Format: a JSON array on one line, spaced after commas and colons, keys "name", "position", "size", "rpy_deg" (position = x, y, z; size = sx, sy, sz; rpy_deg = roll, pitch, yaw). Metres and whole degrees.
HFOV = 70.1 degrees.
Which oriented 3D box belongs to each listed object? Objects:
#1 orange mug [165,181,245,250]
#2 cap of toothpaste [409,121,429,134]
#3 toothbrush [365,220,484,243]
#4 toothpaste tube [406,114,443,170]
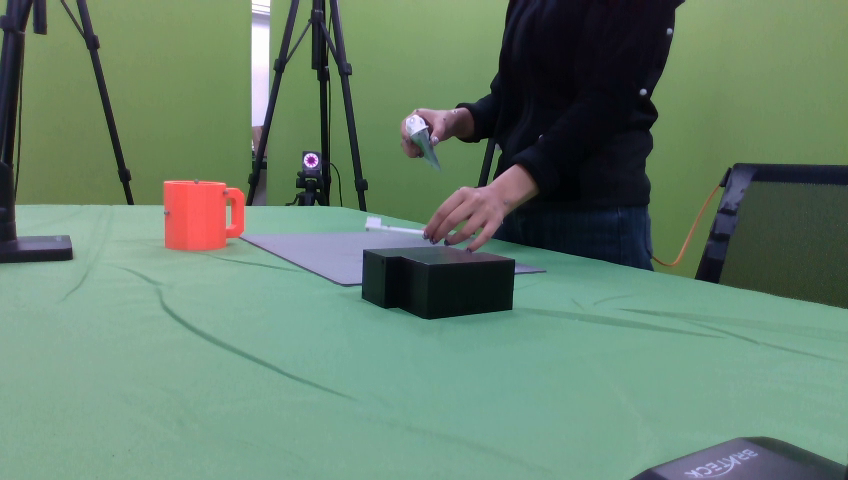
[{"name": "orange mug", "position": [-0.326, -0.040, 0.911], "size": [0.083, 0.101, 0.127], "rpy_deg": [8, 14, 37]}, {"name": "cap of toothpaste", "position": [-0.010, -0.187, 1.007], "size": [0.037, 0.011, 0.037], "rpy_deg": [-25, 4, 2]}, {"name": "toothbrush", "position": [0.003, -0.011, 0.878], "size": [0.182, 0.016, 0.014], "rpy_deg": [7, -11, -19]}, {"name": "toothpaste tube", "position": [0.000, -0.177, 1.096], "size": [0.055, 0.034, 0.165], "rpy_deg": [41, -6, 22]}]
